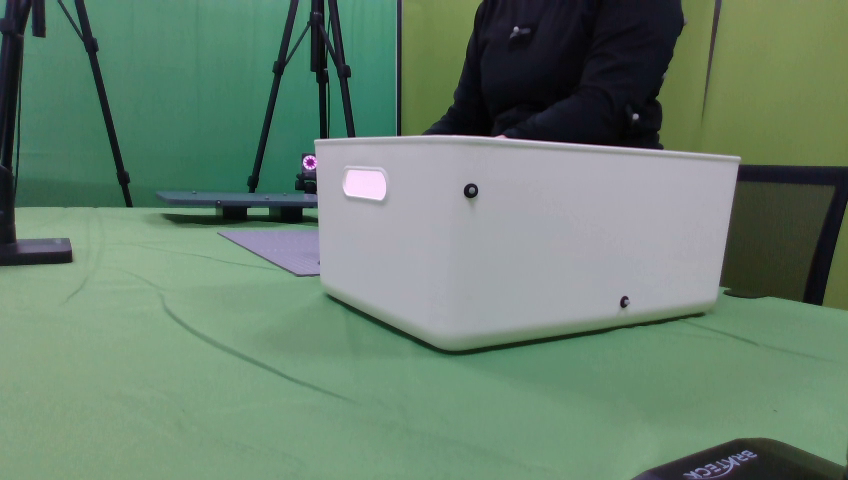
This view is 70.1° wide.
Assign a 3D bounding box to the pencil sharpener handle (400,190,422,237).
[{"bbox_3d":[-0.015,-0.037,0.872,0.031,0.067,0.036,-1,14,-30],"label":"pencil sharpener handle"}]

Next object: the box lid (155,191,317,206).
[{"bbox_3d":[-0.387,-0.091,1.340,0.373,0.015,0.262,-1,8,-30],"label":"box lid"}]

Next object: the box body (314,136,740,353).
[{"bbox_3d":[0.098,-0.012,0.605,0.366,0.160,0.253,-2,8,-33],"label":"box body"}]

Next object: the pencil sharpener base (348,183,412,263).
[{"bbox_3d":[-0.059,-0.024,0.846,0.077,0.107,0.061,-1,7,-30],"label":"pencil sharpener base"}]
